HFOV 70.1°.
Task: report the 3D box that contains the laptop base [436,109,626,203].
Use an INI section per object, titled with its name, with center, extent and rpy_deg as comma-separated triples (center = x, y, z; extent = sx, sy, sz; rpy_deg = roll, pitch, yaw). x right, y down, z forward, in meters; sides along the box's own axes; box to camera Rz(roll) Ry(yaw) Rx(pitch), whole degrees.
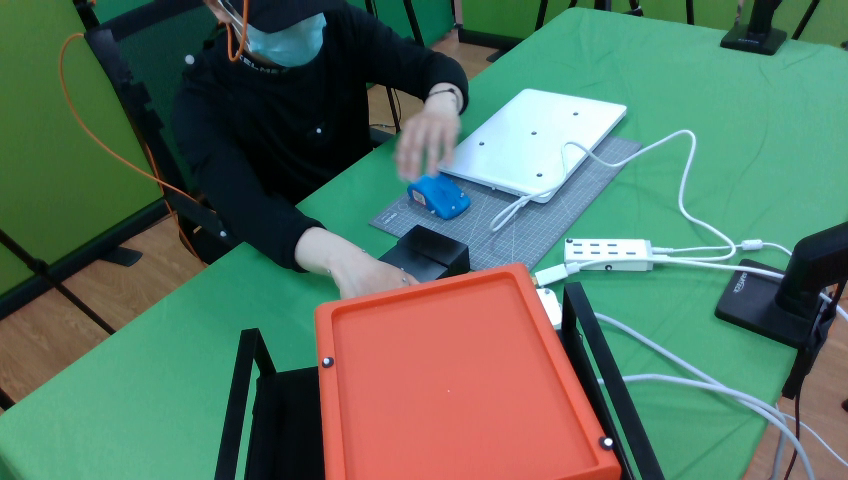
[laptop base]
center = 0.214, -0.193, 1.172
extent = 0.233, 0.023, 0.355
rpy_deg = 19, 46, 32

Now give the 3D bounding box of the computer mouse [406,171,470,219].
[computer mouse]
center = 0.024, -0.082, 1.049
extent = 0.063, 0.041, 0.116
rpy_deg = -30, 49, -27

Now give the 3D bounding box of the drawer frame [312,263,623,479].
[drawer frame]
center = 0.021, 0.130, 0.493
extent = 0.202, 0.083, 0.212
rpy_deg = -11, 41, -6

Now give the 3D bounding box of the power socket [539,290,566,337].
[power socket]
center = 0.081, 0.111, 0.822
extent = 0.227, 0.033, 0.072
rpy_deg = -6, 41, 0

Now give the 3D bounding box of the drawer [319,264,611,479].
[drawer]
center = 0.020, 0.129, 0.497
extent = 0.195, 0.073, 0.210
rpy_deg = -11, 41, -5

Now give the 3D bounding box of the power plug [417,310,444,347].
[power plug]
center = 0.006, 0.123, 0.786
extent = 0.035, 0.053, 0.072
rpy_deg = 2, 41, 9

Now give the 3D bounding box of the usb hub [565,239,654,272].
[usb hub]
center = 0.275, 0.022, 0.906
extent = 0.125, 0.025, 0.049
rpy_deg = 1, 41, 9

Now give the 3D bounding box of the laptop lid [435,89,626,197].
[laptop lid]
center = 0.211, -0.202, 1.165
extent = 0.240, 0.013, 0.358
rpy_deg = 21, 47, 32

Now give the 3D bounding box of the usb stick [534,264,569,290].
[usb stick]
center = 0.178, 0.058, 0.875
extent = 0.059, 0.027, 0.021
rpy_deg = -30, 84, -7
